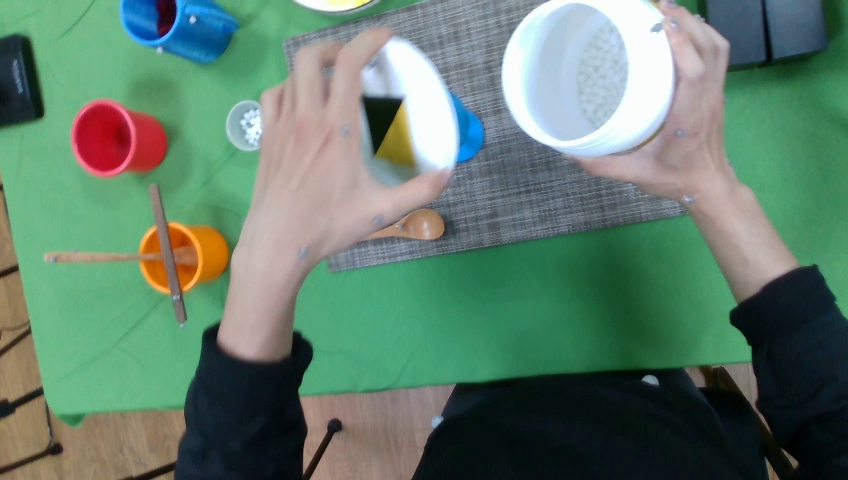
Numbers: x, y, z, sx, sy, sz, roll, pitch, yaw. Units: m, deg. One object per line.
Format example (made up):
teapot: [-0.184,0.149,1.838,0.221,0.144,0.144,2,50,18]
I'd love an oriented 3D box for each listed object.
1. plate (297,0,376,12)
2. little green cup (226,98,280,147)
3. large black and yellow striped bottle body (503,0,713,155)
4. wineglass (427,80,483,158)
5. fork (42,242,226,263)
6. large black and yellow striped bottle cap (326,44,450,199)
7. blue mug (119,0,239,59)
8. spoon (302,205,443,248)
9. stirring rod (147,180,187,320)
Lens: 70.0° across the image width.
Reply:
plate: [-0.098,-0.376,0.719,0.208,0.038,0.209,1,97,13]
little green cup: [-0.214,-0.147,0.769,0.061,0.038,0.061,1,97,13]
large black and yellow striped bottle body: [0.160,-0.143,0.520,0.130,0.184,0.131,11,108,36]
wineglass: [0.019,-0.123,0.645,0.073,0.172,0.074,1,95,13]
fork: [-0.359,0.017,0.763,0.208,0.018,0.028,0,104,-30]
large black and yellow striped bottle cap: [-0.029,-0.084,0.446,0.114,0.019,0.116,32,141,31]
blue mug: [-0.286,-0.272,0.738,0.116,0.106,0.082,5,96,12]
spoon: [-0.068,-0.011,0.754,0.193,0.021,0.042,-11,115,14]
stirring rod: [-0.318,0.013,0.750,0.014,0.006,0.176,-10,94,15]
